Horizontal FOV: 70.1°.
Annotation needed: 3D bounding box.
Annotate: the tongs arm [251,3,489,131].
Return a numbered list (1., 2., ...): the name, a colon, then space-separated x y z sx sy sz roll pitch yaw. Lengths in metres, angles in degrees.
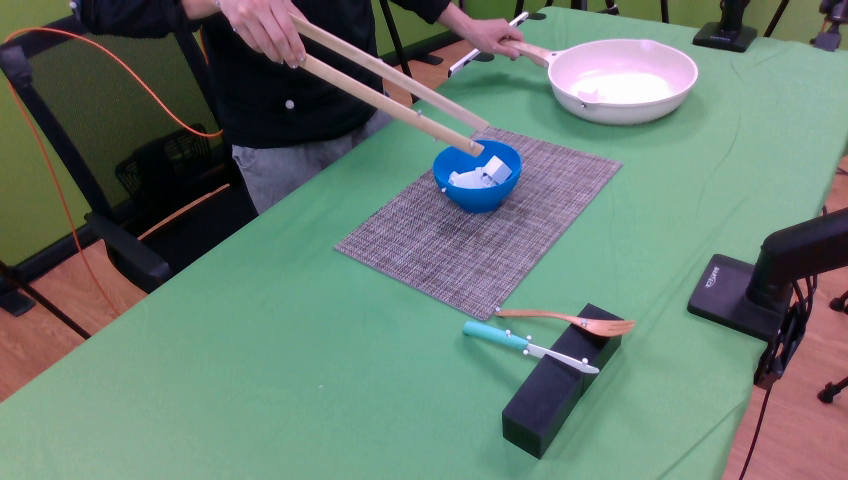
1. tongs arm: -0.071 -0.254 0.908 0.390 0.027 0.028 24 59 -17

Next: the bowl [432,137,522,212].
1. bowl: 0.091 -0.100 1.022 0.151 0.077 0.150 -4 41 4

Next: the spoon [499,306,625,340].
1. spoon: 0.169 0.102 0.773 0.042 0.021 0.192 -10 13 -38

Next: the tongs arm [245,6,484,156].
1. tongs arm: -0.078 -0.226 0.888 0.387 0.026 0.050 23 56 -18

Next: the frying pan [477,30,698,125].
1. frying pan: 0.321 -0.371 1.290 0.484 0.103 0.307 29 51 24

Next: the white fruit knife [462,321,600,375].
1. white fruit knife: 0.126 0.132 0.752 0.205 0.027 0.016 12 47 42
